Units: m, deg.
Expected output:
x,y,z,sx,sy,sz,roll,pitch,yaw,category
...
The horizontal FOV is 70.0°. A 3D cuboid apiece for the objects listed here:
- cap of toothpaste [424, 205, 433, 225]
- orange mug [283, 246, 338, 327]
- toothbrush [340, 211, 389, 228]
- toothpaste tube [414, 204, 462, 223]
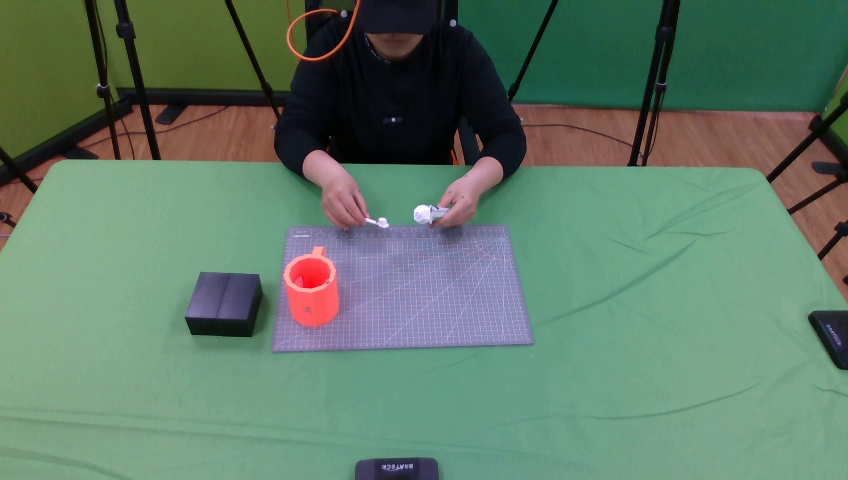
x,y,z,sx,sy,sz,roll,pitch,yaw,category
0.007,-0.044,1.068,0.011,0.037,0.037,11,46,8,cap of toothpaste
-0.192,0.074,1.056,0.083,0.101,0.125,5,50,1,orange mug
-0.120,-0.043,1.178,0.014,0.017,0.181,-32,25,-26,toothbrush
0.023,-0.051,1.157,0.055,0.034,0.165,-12,-2,22,toothpaste tube
